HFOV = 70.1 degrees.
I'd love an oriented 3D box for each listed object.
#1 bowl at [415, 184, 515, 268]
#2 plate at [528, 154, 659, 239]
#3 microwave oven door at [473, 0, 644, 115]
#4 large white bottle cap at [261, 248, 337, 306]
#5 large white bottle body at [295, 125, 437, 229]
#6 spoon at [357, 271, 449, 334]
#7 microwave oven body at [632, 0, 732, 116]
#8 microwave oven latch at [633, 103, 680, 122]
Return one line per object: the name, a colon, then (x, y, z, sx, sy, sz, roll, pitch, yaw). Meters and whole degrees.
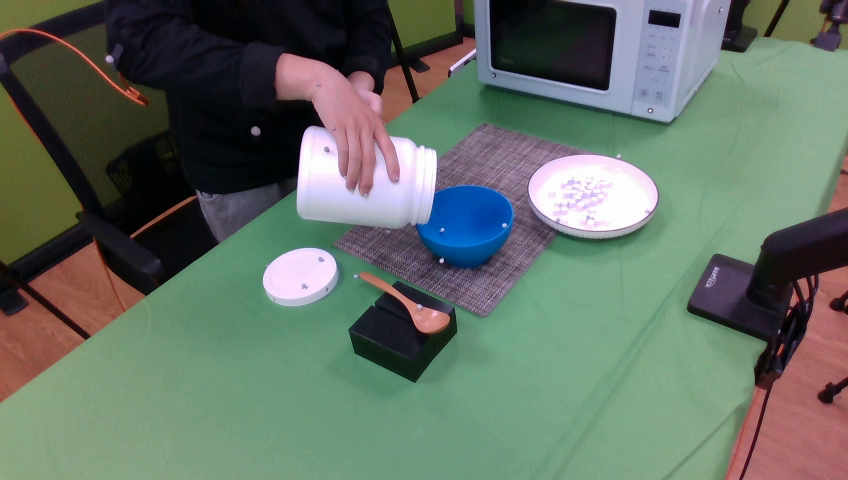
bowl: (0.063, -0.010, 0.922, 0.151, 0.077, 0.150, -4, 40, 4)
plate: (0.274, -0.069, 0.993, 0.209, 0.038, 0.208, -2, 43, 2)
microwave oven door: (0.257, -0.396, 1.199, 0.353, 0.245, 0.039, 21, 48, 29)
large white bottle cap: (-0.193, 0.056, 0.934, 0.115, 0.018, 0.114, -4, 41, 4)
large white bottle body: (-0.081, -0.085, 0.853, 0.185, 0.131, 0.130, 6, 40, -7)
spoon: (-0.034, 0.078, 0.812, 0.042, 0.022, 0.192, -34, 42, -24)
microwave oven body: (0.377, -0.463, 1.267, 0.438, 0.261, 0.327, 21, 49, 30)
microwave oven latch: (0.443, -0.249, 1.157, 0.078, 0.029, 0.030, 21, 49, 30)
